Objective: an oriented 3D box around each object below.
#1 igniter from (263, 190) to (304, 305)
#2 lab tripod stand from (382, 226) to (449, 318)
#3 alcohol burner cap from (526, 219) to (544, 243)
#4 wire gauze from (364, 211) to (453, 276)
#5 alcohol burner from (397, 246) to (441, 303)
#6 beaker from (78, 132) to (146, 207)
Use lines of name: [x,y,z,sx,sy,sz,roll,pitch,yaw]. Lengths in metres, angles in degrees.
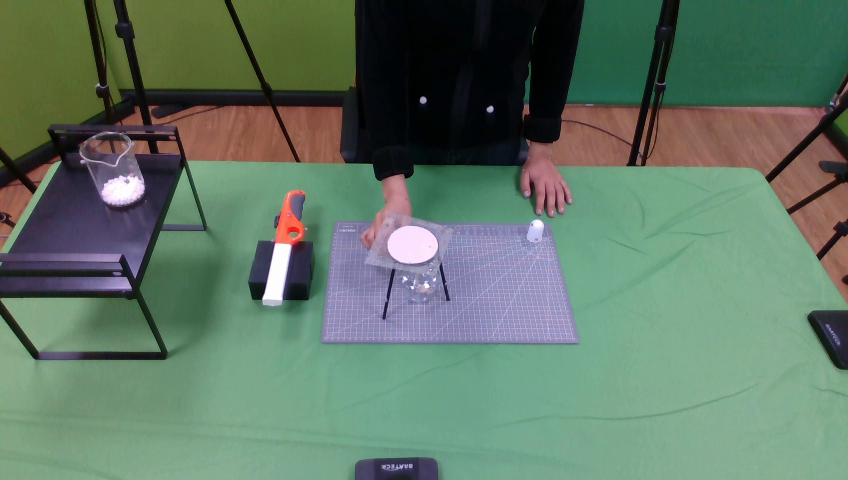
igniter: [-0.255,0.004,1.107,0.057,0.025,0.274,6,46,-7]
lab tripod stand: [-0.023,0.055,1.063,0.148,0.132,0.147,3,48,-3]
alcohol burner cap: [0.225,-0.021,1.218,0.034,0.048,0.033,1,46,-1]
wire gauze: [-0.024,0.006,1.016,0.121,0.011,0.124,14,48,9]
alcohol burner: [-0.008,0.055,1.077,0.078,0.119,0.077,3,44,-2]
beaker: [-0.488,-0.108,0.961,0.074,0.101,0.083,-25,54,-25]
